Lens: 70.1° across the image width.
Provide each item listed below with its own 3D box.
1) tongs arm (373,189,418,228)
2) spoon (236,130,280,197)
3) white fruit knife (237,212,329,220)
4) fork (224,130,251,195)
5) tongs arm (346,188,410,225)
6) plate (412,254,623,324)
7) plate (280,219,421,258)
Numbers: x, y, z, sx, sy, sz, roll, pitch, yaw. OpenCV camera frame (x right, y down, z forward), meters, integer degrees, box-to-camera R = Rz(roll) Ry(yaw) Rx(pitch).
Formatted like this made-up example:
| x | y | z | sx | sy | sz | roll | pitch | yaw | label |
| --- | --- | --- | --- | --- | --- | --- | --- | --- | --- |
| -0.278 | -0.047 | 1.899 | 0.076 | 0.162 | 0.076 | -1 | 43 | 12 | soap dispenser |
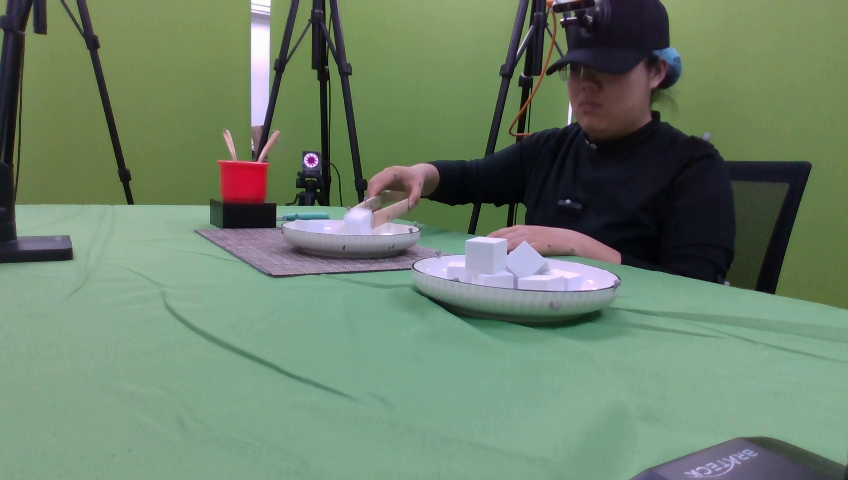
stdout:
| x | y | z | sx | sy | sz | roll | pitch | yaw | label |
| --- | --- | --- | --- | --- | --- | --- | --- | --- | --- |
| -0.046 | -0.061 | 1.079 | 0.028 | 0.028 | 0.388 | 2 | 10 | 8 | tongs arm |
| -0.321 | -0.154 | 1.192 | 0.041 | 0.193 | 0.022 | 0 | -37 | 19 | spoon |
| -0.304 | -0.050 | 1.328 | 0.208 | 0.016 | 0.027 | -3 | -19 | -29 | white fruit knife |
| -0.372 | -0.155 | 1.193 | 0.028 | 0.018 | 0.206 | -17 | 54 | -13 | fork |
| -0.073 | -0.064 | 1.083 | 0.051 | 0.026 | 0.385 | 5 | 10 | 4 | tongs arm |
| 0.090 | 0.047 | 0.609 | 0.209 | 0.038 | 0.209 | 2 | 7 | 0 | plate |
| -0.108 | -0.002 | 0.902 | 0.208 | 0.039 | 0.207 | 3 | 7 | 0 | plate |
